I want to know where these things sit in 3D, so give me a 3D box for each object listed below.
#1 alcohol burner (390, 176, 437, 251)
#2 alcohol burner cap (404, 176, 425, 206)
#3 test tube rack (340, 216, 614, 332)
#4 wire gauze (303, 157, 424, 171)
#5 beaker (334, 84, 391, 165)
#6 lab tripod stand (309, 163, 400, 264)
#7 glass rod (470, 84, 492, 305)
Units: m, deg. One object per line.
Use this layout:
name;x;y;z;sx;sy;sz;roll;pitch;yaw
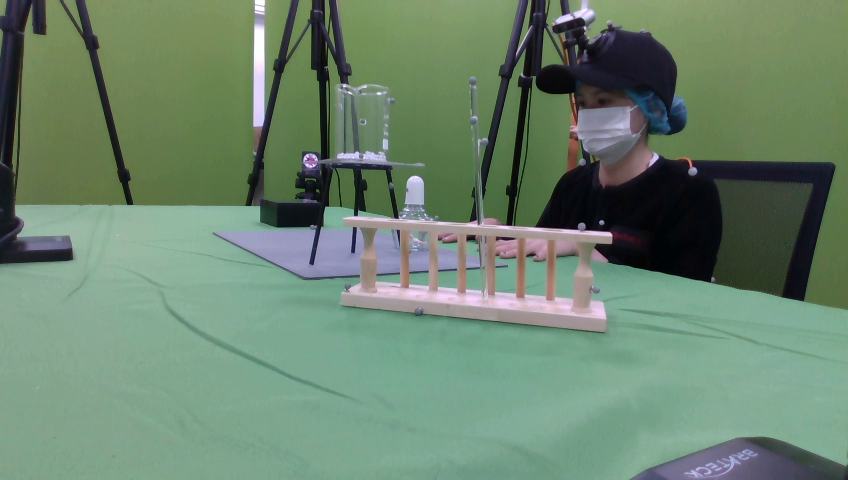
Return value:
alcohol burner;-0.016;-0.042;0.955;0.078;0.119;0.078;4;5;0
alcohol burner cap;-0.015;-0.077;0.951;0.034;0.048;0.034;2;4;0
test tube rack;0.048;0.026;0.568;0.242;0.085;0.067;4;8;13
wire gauze;-0.082;-0.101;0.799;0.126;0.011;0.121;1;7;-30
beaker;-0.082;-0.149;0.792;0.074;0.100;0.084;2;5;5
lab tripod stand;-0.091;-0.037;0.813;0.148;0.131;0.148;1;6;0
glass rod;0.051;-0.036;0.535;0.008;0.199;0.008;-5;10;1
